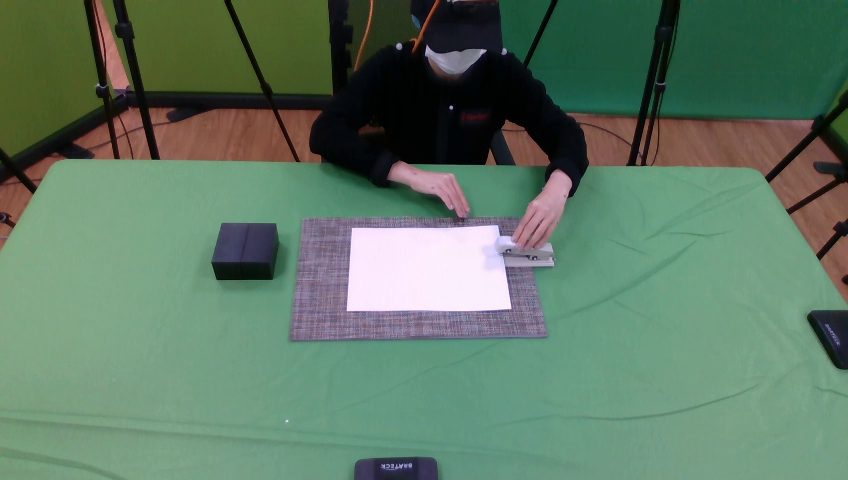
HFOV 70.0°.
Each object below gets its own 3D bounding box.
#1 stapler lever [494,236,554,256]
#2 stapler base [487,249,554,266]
[{"bbox_3d":[0.192,0.012,1.161,0.118,0.040,0.026,0,48,-6],"label":"stapler lever"},{"bbox_3d":[0.189,0.029,1.177,0.131,0.024,0.041,0,48,-7],"label":"stapler base"}]
